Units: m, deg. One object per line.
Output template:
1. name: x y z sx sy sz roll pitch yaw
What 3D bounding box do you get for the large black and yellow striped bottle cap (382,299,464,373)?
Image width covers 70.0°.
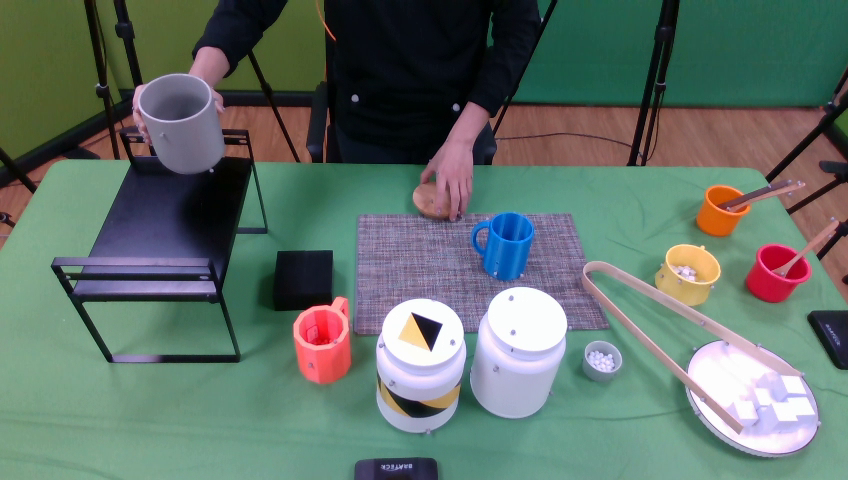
1. large black and yellow striped bottle cap: -0.002 0.132 0.843 0.115 0.019 0.114 2 46 -1

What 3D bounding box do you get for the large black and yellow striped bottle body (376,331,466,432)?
1. large black and yellow striped bottle body: -0.007 0.189 0.905 0.131 0.185 0.130 2 46 -2

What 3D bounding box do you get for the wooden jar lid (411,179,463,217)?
1. wooden jar lid: 0.026 -0.087 1.273 0.108 0.021 0.107 4 46 -4

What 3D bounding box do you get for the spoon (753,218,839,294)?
1. spoon: 0.700 0.031 1.138 0.194 0.022 0.041 -47 55 14

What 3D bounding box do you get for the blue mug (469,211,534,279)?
1. blue mug: 0.141 0.005 1.140 0.116 0.106 0.082 18 48 13

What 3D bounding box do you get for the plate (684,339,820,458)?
1. plate: 0.523 0.256 0.982 0.208 0.039 0.206 2 46 -2

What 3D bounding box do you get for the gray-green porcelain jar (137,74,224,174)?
1. gray-green porcelain jar: -0.371 -0.173 0.937 0.106 0.127 0.105 3 55 -5

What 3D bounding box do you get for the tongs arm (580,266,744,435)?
1. tongs arm: 0.384 0.174 1.028 0.028 0.028 0.385 -25 46 -14

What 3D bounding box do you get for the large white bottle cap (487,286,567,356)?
1. large white bottle cap: 0.147 0.114 0.869 0.115 0.018 0.114 3 46 -3

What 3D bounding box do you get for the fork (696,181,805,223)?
1. fork: 0.659 -0.077 1.232 0.207 0.019 0.028 -26 35 34

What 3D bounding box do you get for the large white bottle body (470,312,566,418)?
1. large white bottle body: 0.143 0.173 0.930 0.131 0.185 0.130 2 46 -2

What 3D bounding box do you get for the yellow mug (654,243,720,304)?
1. yellow mug: 0.504 0.054 1.154 0.099 0.064 0.130 28 49 22

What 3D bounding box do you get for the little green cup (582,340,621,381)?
1. little green cup: 0.295 0.203 1.015 0.061 0.039 0.061 2 45 -2

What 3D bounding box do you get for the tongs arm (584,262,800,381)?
1. tongs arm: 0.452 0.137 1.064 0.051 0.027 0.382 -34 50 -27

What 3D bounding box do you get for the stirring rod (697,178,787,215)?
1. stirring rod: 0.650 -0.088 1.246 0.006 0.176 0.014 29 50 -39

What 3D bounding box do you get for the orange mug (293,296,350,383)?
1. orange mug: -0.157 0.154 0.985 0.083 0.101 0.125 17 52 11
